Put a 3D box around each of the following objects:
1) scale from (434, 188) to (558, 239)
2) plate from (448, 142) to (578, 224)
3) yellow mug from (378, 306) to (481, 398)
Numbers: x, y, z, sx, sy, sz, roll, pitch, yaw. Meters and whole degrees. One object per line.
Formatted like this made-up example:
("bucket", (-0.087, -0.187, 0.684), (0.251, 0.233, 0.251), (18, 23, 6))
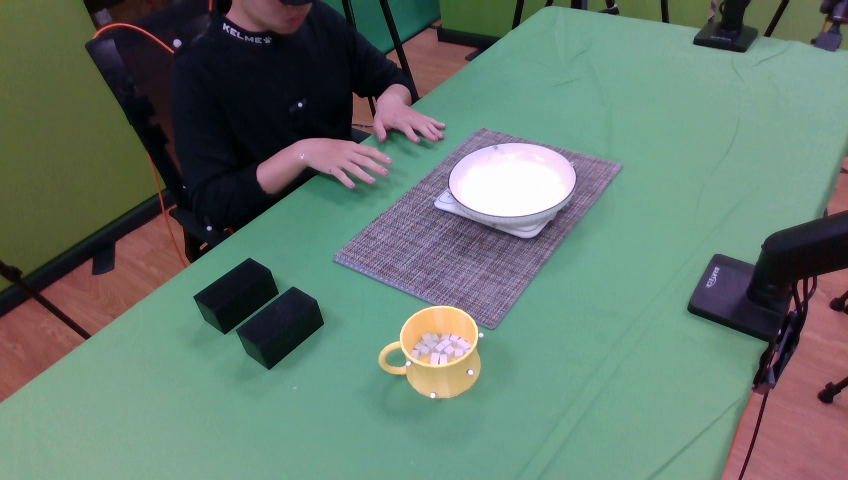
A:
("scale", (0.132, -0.075, 1.024), (0.199, 0.032, 0.149), (22, 48, 30))
("plate", (0.145, -0.089, 0.989), (0.209, 0.038, 0.208), (-4, 41, 4))
("yellow mug", (0.006, 0.144, 0.766), (0.131, 0.064, 0.099), (-10, 40, -2))
